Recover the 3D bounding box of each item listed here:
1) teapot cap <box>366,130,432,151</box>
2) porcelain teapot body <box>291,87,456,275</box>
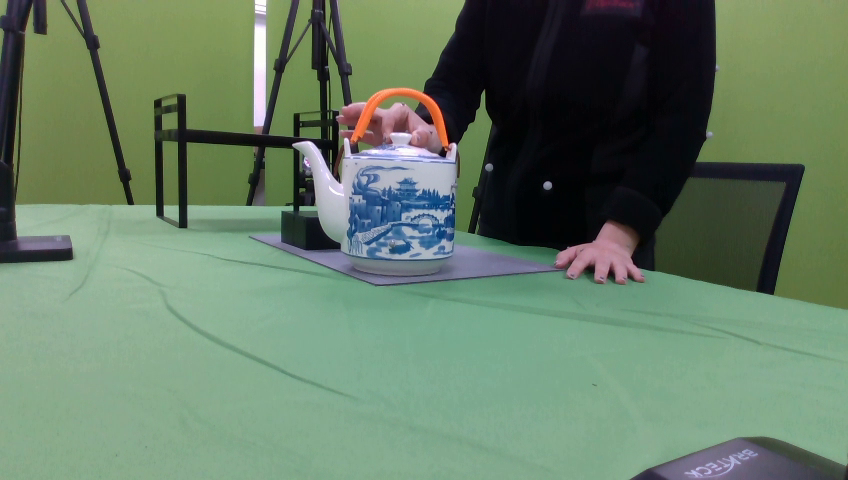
[{"bbox_3d":[-0.030,-0.115,0.754,0.085,0.044,0.085,2,13,0],"label":"teapot cap"},{"bbox_3d":[-0.060,-0.076,0.753,0.206,0.225,0.145,0,8,-11],"label":"porcelain teapot body"}]
